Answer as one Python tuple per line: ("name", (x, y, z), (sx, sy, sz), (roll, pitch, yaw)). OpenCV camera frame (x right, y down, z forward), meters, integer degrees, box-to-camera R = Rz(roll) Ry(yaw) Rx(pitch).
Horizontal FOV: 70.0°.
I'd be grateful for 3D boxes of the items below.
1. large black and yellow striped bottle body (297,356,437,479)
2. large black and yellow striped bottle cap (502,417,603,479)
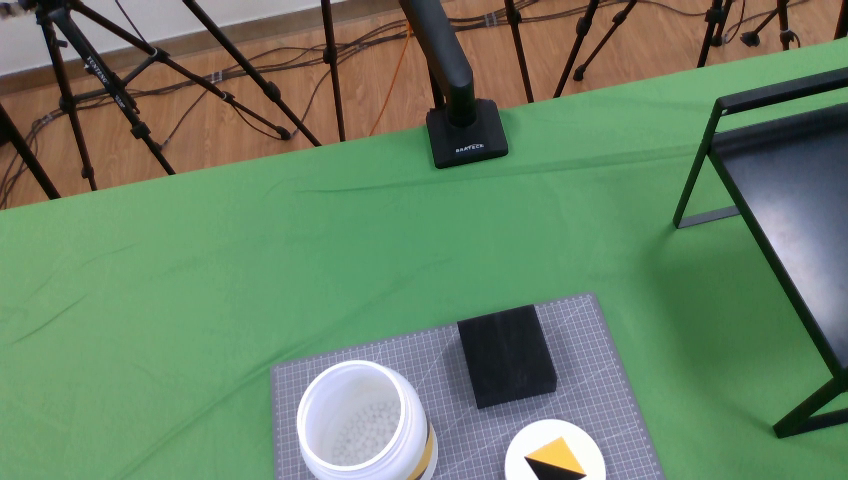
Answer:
("large black and yellow striped bottle body", (-0.060, 0.210, 0.665), (0.130, 0.186, 0.129), (-4, 59, 6))
("large black and yellow striped bottle cap", (0.148, 0.263, 0.702), (0.115, 0.019, 0.114), (-3, 58, 5))
